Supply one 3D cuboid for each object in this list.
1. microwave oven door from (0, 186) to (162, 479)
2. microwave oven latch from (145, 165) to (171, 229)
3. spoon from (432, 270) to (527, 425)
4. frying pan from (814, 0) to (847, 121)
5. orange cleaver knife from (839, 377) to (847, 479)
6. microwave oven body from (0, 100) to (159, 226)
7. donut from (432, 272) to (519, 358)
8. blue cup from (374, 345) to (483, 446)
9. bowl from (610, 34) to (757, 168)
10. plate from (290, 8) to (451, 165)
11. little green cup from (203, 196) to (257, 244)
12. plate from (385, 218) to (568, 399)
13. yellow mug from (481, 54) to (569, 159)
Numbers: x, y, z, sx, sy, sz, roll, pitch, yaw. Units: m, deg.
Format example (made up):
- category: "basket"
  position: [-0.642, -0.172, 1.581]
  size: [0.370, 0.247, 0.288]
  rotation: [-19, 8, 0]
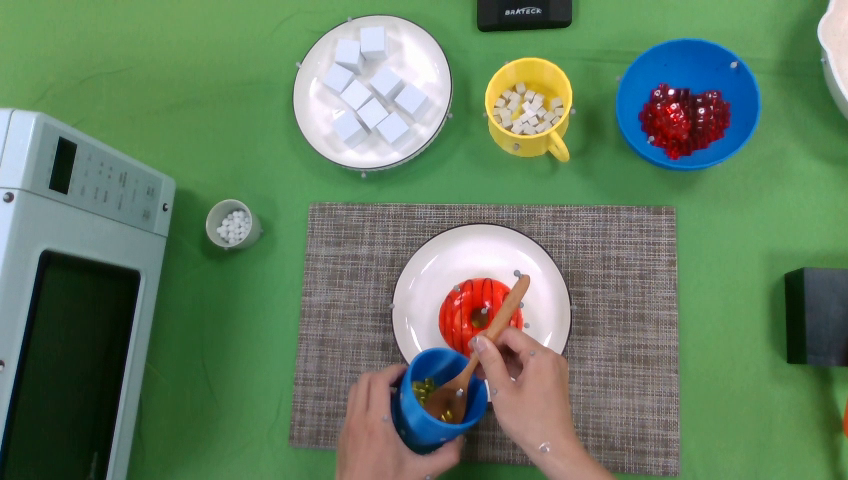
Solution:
- category: "microwave oven door"
  position: [-0.391, 0.142, 0.649]
  size: [0.039, 0.245, 0.354]
  rotation: [4, 81, 10]
- category: "microwave oven latch"
  position: [-0.349, -0.056, 0.780]
  size: [0.030, 0.029, 0.079]
  rotation: [8, 83, 10]
- category: "spoon"
  position: [0.047, 0.110, 0.583]
  size: [0.041, 0.021, 0.194]
  rotation: [35, 112, 12]
- category: "frying pan"
  position: [0.560, -0.113, 0.628]
  size: [0.306, 0.103, 0.485]
  rotation: [7, 74, 11]
- category: "orange cleaver knife"
  position: [0.438, 0.185, 0.609]
  size: [0.012, 0.077, 0.212]
  rotation: [1, 109, 10]
- category: "microwave oven body"
  position: [-0.529, 0.090, 0.685]
  size: [0.325, 0.261, 0.440]
  rotation: [5, 82, 9]
- category: "donut"
  position: [0.059, 0.086, 0.694]
  size: [0.099, 0.048, 0.099]
  rotation: [-1, 84, 10]
- category: "blue cup"
  position: [-0.003, 0.165, 0.614]
  size: [0.092, 0.093, 0.100]
  rotation: [57, 137, 14]
- category: "bowl"
  position: [0.286, -0.147, 0.692]
  size: [0.151, 0.077, 0.151]
  rotation: [-2, 81, 9]
- category: "plate"
  position: [-0.066, -0.193, 0.777]
  size: [0.207, 0.039, 0.207]
  rotation: [-2, 80, 9]
- category: "little green cup"
  position: [-0.246, -0.023, 0.776]
  size: [0.061, 0.039, 0.061]
  rotation: [-1, 82, 8]
- category: "plate"
  position: [0.060, 0.078, 0.706]
  size: [0.209, 0.038, 0.208]
  rotation: [-1, 81, 9]
- category: "yellow mug"
  position: [0.129, -0.150, 0.724]
  size: [0.100, 0.064, 0.130]
  rotation: [-35, 78, 2]
